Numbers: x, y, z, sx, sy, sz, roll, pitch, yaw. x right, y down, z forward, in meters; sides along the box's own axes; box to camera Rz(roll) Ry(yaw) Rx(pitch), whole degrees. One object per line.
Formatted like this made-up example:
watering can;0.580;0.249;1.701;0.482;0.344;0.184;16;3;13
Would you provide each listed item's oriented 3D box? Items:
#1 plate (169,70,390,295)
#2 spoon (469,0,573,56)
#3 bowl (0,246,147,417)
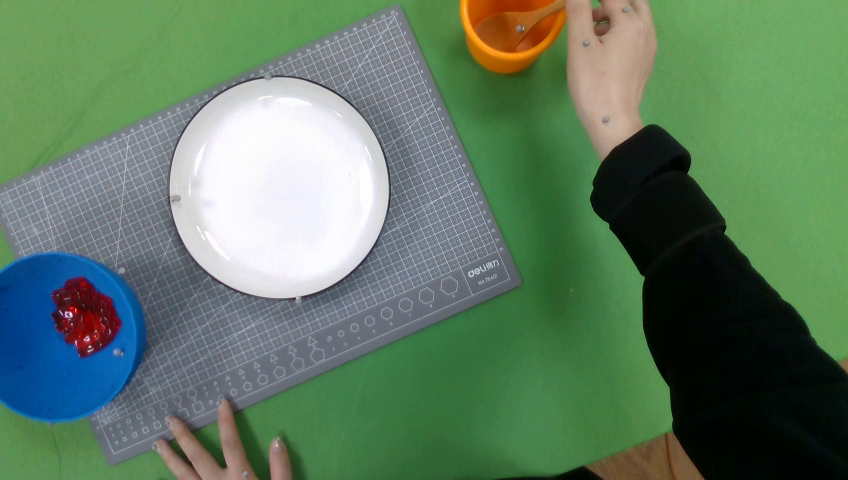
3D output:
plate;-0.134;-0.053;0.577;0.209;0.038;0.209;0;92;2
spoon;0.115;-0.202;0.516;0.022;0.193;0.041;-13;93;-42
bowl;-0.322;0.079;0.564;0.151;0.077;0.151;0;92;1
